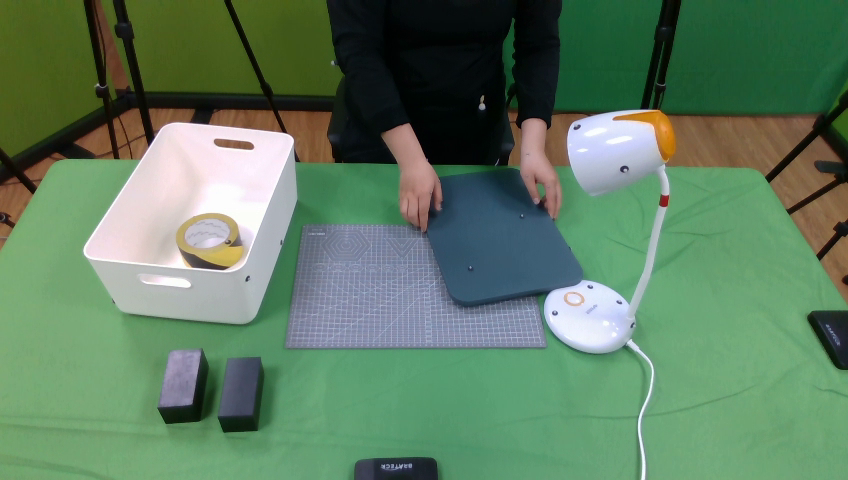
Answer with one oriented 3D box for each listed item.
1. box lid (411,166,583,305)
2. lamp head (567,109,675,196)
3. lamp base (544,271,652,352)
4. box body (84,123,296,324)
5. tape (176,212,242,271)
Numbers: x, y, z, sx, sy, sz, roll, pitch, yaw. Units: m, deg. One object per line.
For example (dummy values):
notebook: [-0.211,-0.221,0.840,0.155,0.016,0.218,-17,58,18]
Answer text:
box lid: [0.136,-0.023,1.225,0.263,0.015,0.369,-9,45,-11]
lamp head: [0.272,-0.123,0.818,0.122,0.113,0.112,-9,35,37]
lamp base: [0.310,0.086,1.029,0.178,0.181,0.160,32,52,21]
box body: [-0.392,-0.035,1.104,0.254,0.161,0.362,5,46,1]
tape: [-0.401,0.005,1.133,0.117,0.053,0.116,2,46,-2]
